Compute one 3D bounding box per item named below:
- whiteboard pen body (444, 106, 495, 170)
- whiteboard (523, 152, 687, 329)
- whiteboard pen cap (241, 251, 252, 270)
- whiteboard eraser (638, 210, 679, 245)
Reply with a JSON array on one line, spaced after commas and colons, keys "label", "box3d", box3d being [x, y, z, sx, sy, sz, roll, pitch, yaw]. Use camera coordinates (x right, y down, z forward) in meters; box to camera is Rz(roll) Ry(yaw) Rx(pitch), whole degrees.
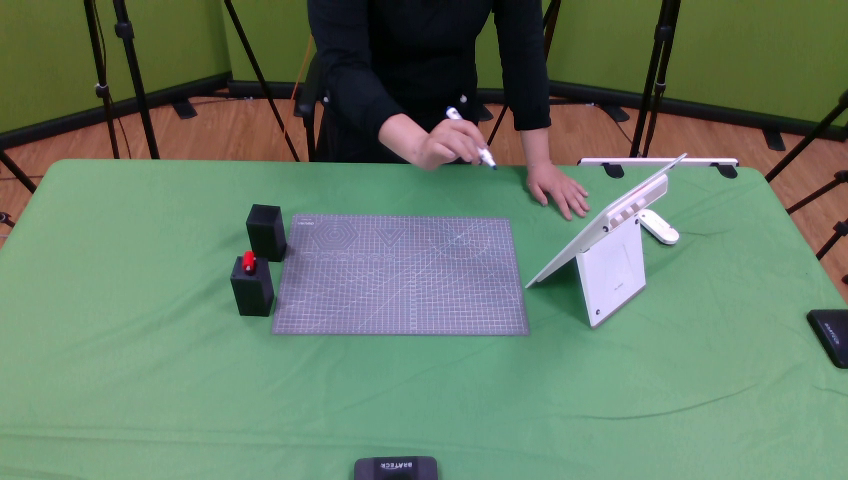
[{"label": "whiteboard pen body", "box3d": [0.074, -0.164, 0.971, 0.017, 0.017, 0.140, -24, 65, -25]}, {"label": "whiteboard", "box3d": [0.346, 0.025, 1.046, 0.217, 0.306, 0.143, -30, 74, -29]}, {"label": "whiteboard pen cap", "box3d": [-0.294, 0.033, 1.005, 0.017, 0.017, 0.032, -2, 44, -7]}, {"label": "whiteboard eraser", "box3d": [0.485, -0.027, 1.260, 0.041, 0.019, 0.100, -21, 50, -21]}]
